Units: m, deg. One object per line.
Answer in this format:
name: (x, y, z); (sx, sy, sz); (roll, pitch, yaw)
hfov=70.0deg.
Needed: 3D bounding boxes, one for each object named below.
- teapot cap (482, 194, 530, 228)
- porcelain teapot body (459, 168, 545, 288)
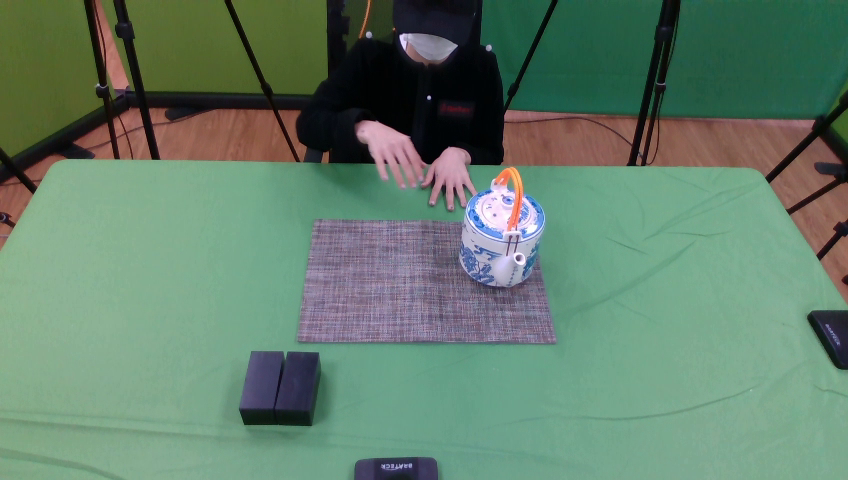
teapot cap: (0.145, -0.055, 1.062); (0.085, 0.044, 0.084); (3, 47, -3)
porcelain teapot body: (0.146, -0.006, 1.070); (0.145, 0.226, 0.204); (-4, 46, -8)
